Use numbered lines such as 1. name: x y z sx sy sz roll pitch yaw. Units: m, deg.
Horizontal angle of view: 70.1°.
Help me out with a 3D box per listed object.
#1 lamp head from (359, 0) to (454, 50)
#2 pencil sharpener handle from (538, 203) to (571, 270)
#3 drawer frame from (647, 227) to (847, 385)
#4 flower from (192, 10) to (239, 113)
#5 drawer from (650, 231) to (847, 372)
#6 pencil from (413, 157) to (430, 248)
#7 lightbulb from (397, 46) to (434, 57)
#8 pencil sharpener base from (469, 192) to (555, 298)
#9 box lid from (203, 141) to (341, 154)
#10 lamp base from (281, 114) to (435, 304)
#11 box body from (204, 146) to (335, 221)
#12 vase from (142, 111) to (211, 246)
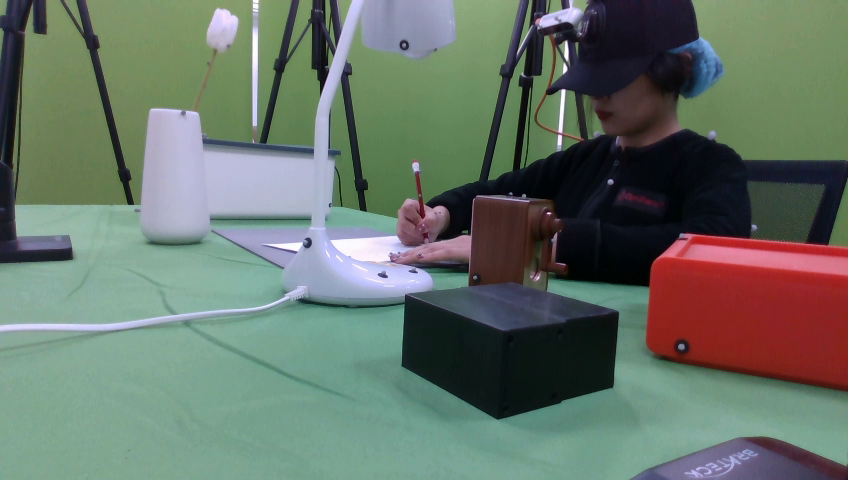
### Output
1. lamp head: -0.024 -0.282 0.674 0.112 0.123 0.112 -3 38 3
2. pencil sharpener handle: 0.137 -0.003 0.619 0.030 0.067 0.036 8 6 38
3. drawer frame: 0.303 0.043 0.495 0.201 0.082 0.214 6 9 26
4. flower: -0.354 -0.174 0.915 0.038 0.361 0.044 18 -4 12
5. drawer: 0.303 0.044 0.499 0.194 0.073 0.212 7 9 27
6. pencil: -0.004 -0.065 1.007 0.012 0.193 0.012 -6 -36 -4
7. lightbulb: -0.017 -0.264 0.692 0.059 0.108 0.059 -9 29 5
8. pencil sharpener base: 0.097 0.003 0.652 0.076 0.107 0.061 8 9 38
9. box lid: -0.396 -0.212 1.373 0.373 0.015 0.262 -1 9 -29
10. lamp base: -0.071 -0.034 0.614 0.160 0.180 0.180 6 10 27
11. box body: -0.411 -0.135 1.386 0.366 0.160 0.253 -2 9 -29
12. vase: -0.378 -0.093 0.920 0.098 0.200 0.098 2 9 0
